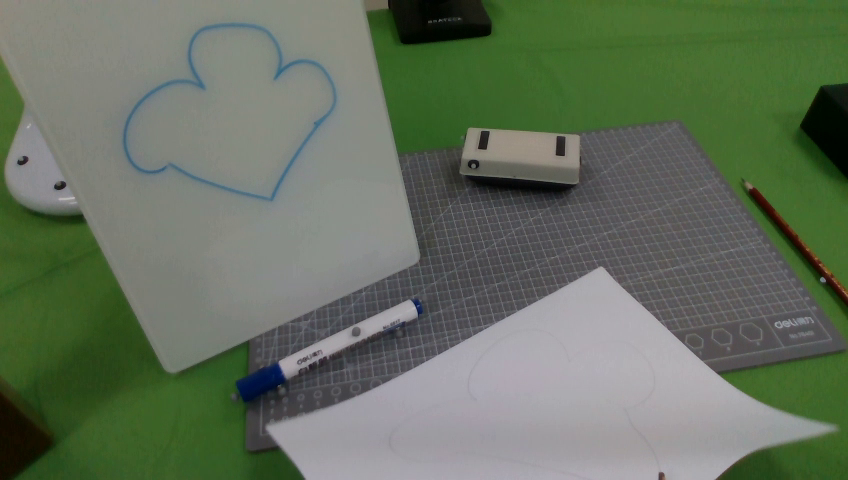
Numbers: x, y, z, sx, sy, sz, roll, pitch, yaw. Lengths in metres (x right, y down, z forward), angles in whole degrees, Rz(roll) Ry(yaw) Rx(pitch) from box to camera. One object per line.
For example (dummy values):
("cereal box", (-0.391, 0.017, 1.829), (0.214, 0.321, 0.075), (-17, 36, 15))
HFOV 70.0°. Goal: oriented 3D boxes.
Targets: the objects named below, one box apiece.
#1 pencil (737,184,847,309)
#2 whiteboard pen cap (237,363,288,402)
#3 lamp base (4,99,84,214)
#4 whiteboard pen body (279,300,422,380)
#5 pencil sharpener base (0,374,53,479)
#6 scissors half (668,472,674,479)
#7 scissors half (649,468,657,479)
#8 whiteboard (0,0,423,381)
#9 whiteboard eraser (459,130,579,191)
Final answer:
("pencil", (0.329, 0.011, 0.527), (0.012, 0.012, 0.192), (-10, 46, -8))
("whiteboard pen cap", (-0.115, 0.102, 0.434), (0.033, 0.018, 0.018), (-24, 51, -19))
("lamp base", (-0.345, -0.141, 0.558), (0.178, 0.182, 0.160), (23, 51, 24))
("whiteboard pen body", (-0.064, 0.079, 0.453), (0.141, 0.017, 0.017), (-23, 51, -19))
("pencil sharpener base", (-0.299, 0.110, 0.373), (0.061, 0.108, 0.076), (30, 54, 26))
("scissors half", (0.114, 0.199, 0.292), (0.013, 0.175, 0.040), (3, 3, -1))
("scissors half", (0.115, 0.194, 0.270), (0.013, 0.040, 0.173), (5, 60, -5))
("whiteboard", (-0.153, -0.091, 0.465), (0.217, 0.308, 0.142), (-24, 31, -19))
("whiteboard eraser", (0.092, -0.076, 0.584), (0.112, 0.042, 0.055), (6, 48, 7))
